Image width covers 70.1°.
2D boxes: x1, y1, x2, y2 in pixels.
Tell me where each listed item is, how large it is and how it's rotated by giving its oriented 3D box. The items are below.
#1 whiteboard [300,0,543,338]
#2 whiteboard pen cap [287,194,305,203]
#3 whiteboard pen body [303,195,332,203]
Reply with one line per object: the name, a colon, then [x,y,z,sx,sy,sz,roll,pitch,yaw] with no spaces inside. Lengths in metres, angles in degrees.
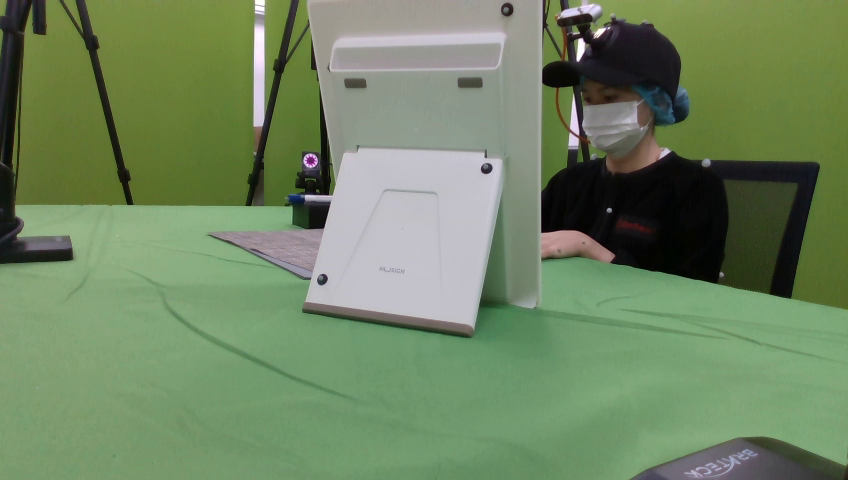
whiteboard: [-0.020,-0.050,0.523,0.216,0.305,0.144,6,27,22]
whiteboard pen cap: [-0.255,-0.083,1.206,0.033,0.018,0.018,1,8,-22]
whiteboard pen body: [-0.198,-0.083,1.229,0.141,0.017,0.017,0,8,-22]
